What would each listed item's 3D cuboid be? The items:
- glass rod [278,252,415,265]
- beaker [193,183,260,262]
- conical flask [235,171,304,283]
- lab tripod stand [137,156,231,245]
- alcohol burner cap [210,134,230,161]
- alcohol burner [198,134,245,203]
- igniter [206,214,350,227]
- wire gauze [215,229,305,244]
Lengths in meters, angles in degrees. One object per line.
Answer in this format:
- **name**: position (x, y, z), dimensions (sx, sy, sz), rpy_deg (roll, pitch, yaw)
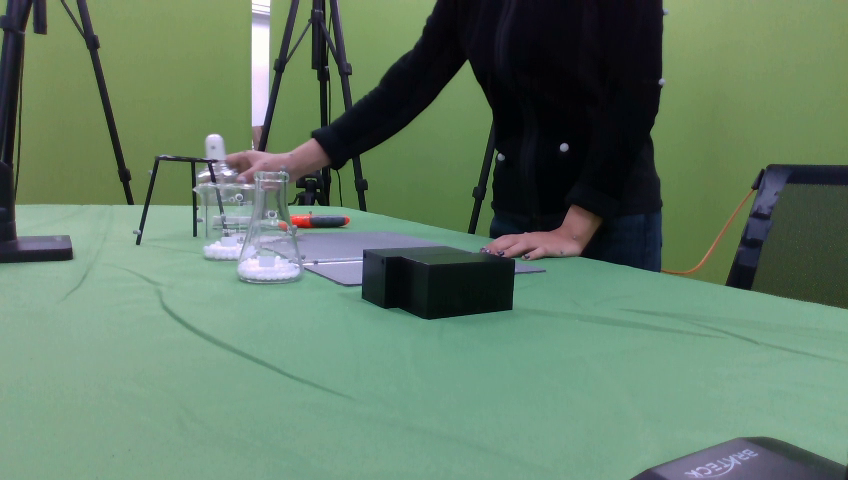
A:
- **glass rod**: position (-0.097, 0.024, 0.805), dimensions (0.201, 0.008, 0.008), rpy_deg (-3, 8, -33)
- **beaker**: position (-0.262, -0.024, 0.806), dimensions (0.084, 0.100, 0.073), rpy_deg (-3, 9, -30)
- **conical flask**: position (-0.172, -0.016, 0.677), dimensions (0.075, 0.122, 0.075), rpy_deg (2, 7, 0)
- **lab tripod stand**: position (-0.358, -0.061, 0.927), dimensions (0.148, 0.131, 0.148), rpy_deg (4, 6, 0)
- **alcohol burner cap**: position (-0.356, -0.160, 1.049), dimensions (0.034, 0.048, 0.034), rpy_deg (-4, 8, 1)
- **alcohol burner**: position (-0.352, -0.124, 1.052), dimensions (0.078, 0.119, 0.078), rpy_deg (-2, 3, 0)
- **igniter**: position (-0.279, -0.038, 1.185), dimensions (0.278, 0.025, 0.057), rpy_deg (-2, -1, -30)
- **wire gauze**: position (-0.273, -0.009, 1.012), dimensions (0.122, 0.011, 0.124), rpy_deg (-3, 9, -33)
